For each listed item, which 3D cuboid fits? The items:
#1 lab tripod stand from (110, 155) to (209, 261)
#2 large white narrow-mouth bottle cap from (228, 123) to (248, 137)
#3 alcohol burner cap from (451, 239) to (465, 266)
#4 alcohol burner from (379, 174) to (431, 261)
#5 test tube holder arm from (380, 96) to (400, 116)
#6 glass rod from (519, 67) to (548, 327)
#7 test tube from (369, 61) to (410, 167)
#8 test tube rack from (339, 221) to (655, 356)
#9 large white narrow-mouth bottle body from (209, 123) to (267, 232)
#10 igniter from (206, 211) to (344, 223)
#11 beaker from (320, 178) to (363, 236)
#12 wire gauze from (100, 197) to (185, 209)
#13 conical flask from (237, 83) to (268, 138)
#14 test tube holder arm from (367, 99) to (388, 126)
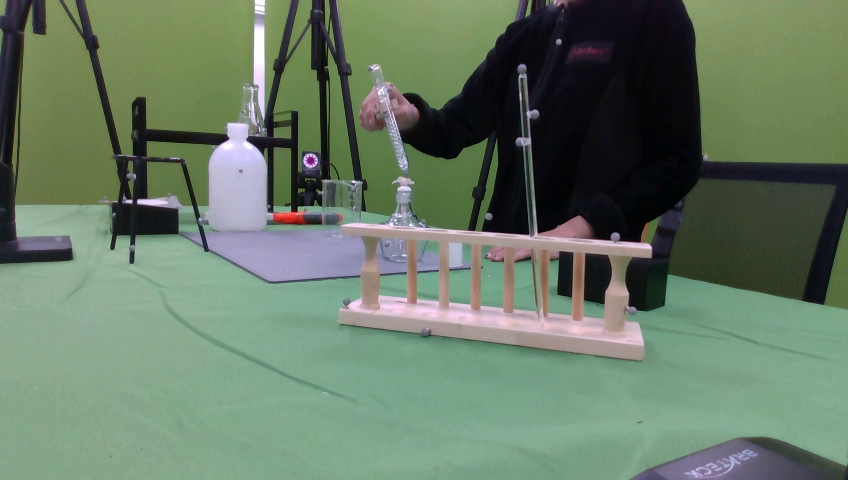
[{"bbox_3d":[-0.361,-0.046,0.806,0.148,0.131,0.148,2,5,0],"label":"lab tripod stand"},{"bbox_3d":[-0.338,-0.199,1.097,0.038,0.024,0.037,2,8,0],"label":"large white narrow-mouth bottle cap"},{"bbox_3d":[0.040,0.010,0.815,0.034,0.048,0.034,4,8,0],"label":"alcohol burner cap"},{"bbox_3d":[-0.027,-0.031,0.838,0.078,0.119,0.078,0,6,0],"label":"alcohol burner"},{"bbox_3d":[-0.053,-0.187,0.852,0.010,0.015,0.087,-15,6,-20],"label":"test tube holder arm"},{"bbox_3d":[0.084,-0.029,0.459,0.008,0.199,0.008,-7,11,2],"label":"glass rod"},{"bbox_3d":[-0.047,-0.172,0.829,0.017,0.150,0.017,-18,0,0],"label":"test tube"},{"bbox_3d":[0.056,0.032,0.495,0.242,0.085,0.067,4,7,15],"label":"test tube rack"},{"bbox_3d":[-0.340,-0.115,1.109,0.102,0.194,0.102,2,8,0],"label":"large white narrow-mouth bottle body"},{"bbox_3d":[-0.302,-0.048,1.249,0.278,0.025,0.057,-2,-2,-27],"label":"igniter"},{"bbox_3d":[-0.145,-0.059,1.079,0.074,0.100,0.083,-4,10,-36],"label":"beaker"},{"bbox_3d":[-0.469,-0.062,1.008,0.126,0.011,0.121,-2,8,-25],"label":"wire gauze"},{"bbox_3d":[-0.402,-0.299,1.406,0.075,0.122,0.075,2,7,0],"label":"conical flask"},{"bbox_3d":[-0.071,-0.187,0.894,0.013,0.015,0.178,-14,6,-12],"label":"test tube holder arm"}]
